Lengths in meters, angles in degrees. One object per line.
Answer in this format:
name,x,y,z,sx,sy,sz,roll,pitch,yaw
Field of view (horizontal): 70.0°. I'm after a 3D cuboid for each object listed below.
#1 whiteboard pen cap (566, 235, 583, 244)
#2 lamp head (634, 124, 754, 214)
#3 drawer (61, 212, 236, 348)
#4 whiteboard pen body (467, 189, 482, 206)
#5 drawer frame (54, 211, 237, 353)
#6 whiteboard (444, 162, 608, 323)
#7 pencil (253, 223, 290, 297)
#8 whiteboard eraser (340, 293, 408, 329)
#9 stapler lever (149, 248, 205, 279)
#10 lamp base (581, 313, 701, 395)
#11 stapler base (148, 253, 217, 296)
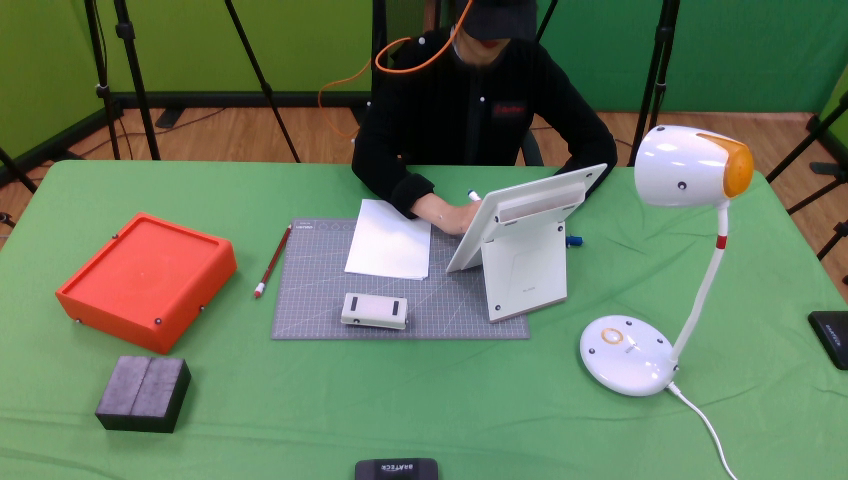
whiteboard pen cap,0.303,0.000,1.221,0.033,0.018,0.018,3,46,-2
lamp head,0.351,-0.089,0.776,0.112,0.113,0.122,-30,30,-28
drawer,-0.473,0.064,1.060,0.194,0.073,0.211,18,48,11
whiteboard pen body,0.130,-0.047,1.168,0.017,0.017,0.140,-27,65,-27
drawer frame,-0.473,0.067,1.055,0.201,0.083,0.212,17,48,11
whiteboard,0.186,0.026,1.028,0.217,0.306,0.143,-14,68,-17
pencil,-0.286,0.033,1.150,0.012,0.012,0.193,9,46,4
whiteboard eraser,-0.087,0.125,1.052,0.113,0.042,0.055,5,45,1
stapler lever,-0.443,0.037,1.083,0.118,0.040,0.027,19,50,17
lamp base,0.361,0.144,0.972,0.178,0.181,0.160,34,53,23
stapler base,-0.443,0.058,1.109,0.130,0.024,0.041,24,51,11
